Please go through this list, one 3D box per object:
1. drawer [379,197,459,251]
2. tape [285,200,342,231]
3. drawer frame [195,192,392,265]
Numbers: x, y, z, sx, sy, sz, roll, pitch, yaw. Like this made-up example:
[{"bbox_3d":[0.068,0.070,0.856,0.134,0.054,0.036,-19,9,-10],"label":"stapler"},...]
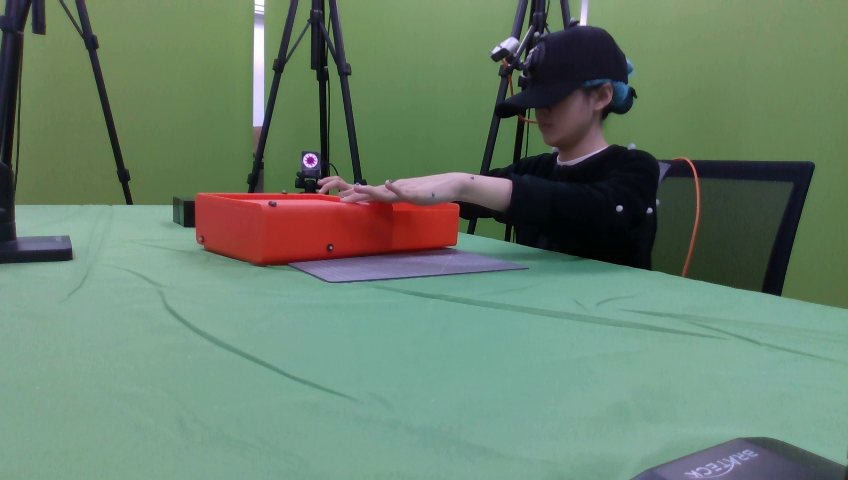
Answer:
[{"bbox_3d":[-0.085,-0.029,0.979,0.213,0.073,0.193,-3,11,-42],"label":"drawer"},{"bbox_3d":[-0.223,-0.051,1.222,0.117,0.052,0.117,3,7,0],"label":"tape"},{"bbox_3d":[-0.189,-0.024,0.882,0.215,0.082,0.200,-5,11,-44],"label":"drawer frame"}]
